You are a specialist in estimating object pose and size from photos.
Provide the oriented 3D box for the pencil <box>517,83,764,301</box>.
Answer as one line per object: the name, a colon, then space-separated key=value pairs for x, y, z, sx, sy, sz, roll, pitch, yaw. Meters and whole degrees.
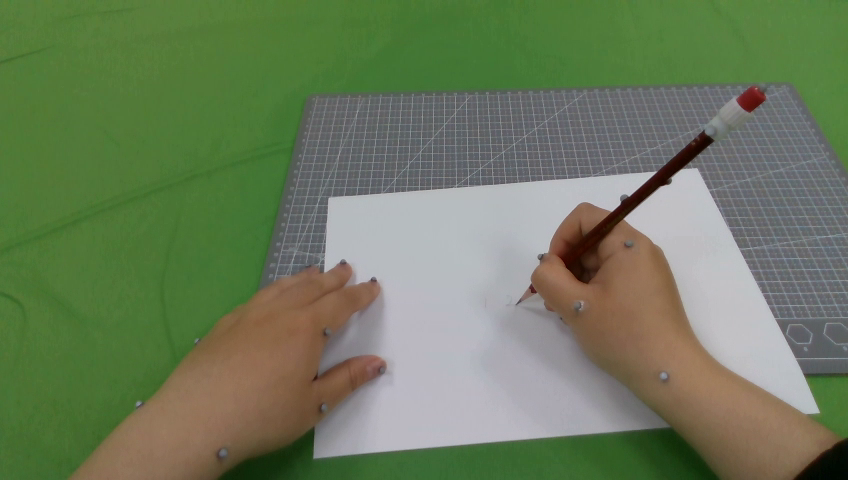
pencil: x=0.108 y=-0.014 z=0.342 sx=0.012 sy=0.194 sz=0.012 roll=18 pitch=47 yaw=-21
